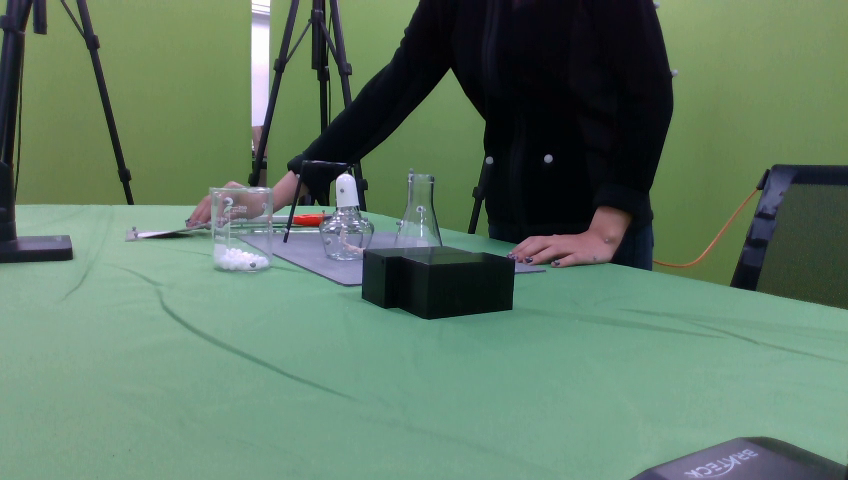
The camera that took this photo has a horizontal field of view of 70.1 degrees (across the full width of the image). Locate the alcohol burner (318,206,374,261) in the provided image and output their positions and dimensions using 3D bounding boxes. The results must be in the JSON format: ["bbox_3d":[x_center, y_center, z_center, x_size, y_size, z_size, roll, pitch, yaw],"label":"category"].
[{"bbox_3d":[-0.107,-0.032,0.833,0.078,0.119,0.078,1,6,0],"label":"alcohol burner"}]

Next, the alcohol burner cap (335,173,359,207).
[{"bbox_3d":[-0.108,-0.068,0.829,0.034,0.048,0.034,-7,4,1],"label":"alcohol burner cap"}]

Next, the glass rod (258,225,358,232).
[{"bbox_3d":[-0.216,-0.022,1.152,0.201,0.008,0.008,-3,8,-28],"label":"glass rod"}]

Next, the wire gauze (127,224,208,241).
[{"bbox_3d":[-0.422,-0.015,0.997,0.122,0.011,0.124,-8,6,-24],"label":"wire gauze"}]

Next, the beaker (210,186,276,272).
[{"bbox_3d":[-0.224,-0.014,0.738,0.084,0.100,0.074,4,7,16],"label":"beaker"}]

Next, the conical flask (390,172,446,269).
[{"bbox_3d":[-0.006,-0.027,0.790,0.075,0.122,0.075,2,7,0],"label":"conical flask"}]

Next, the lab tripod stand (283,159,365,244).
[{"bbox_3d":[-0.151,-0.063,0.983,0.148,0.131,0.148,4,7,0],"label":"lab tripod stand"}]

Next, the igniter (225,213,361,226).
[{"bbox_3d":[-0.257,-0.042,1.220,0.278,0.025,0.057,-3,-2,-33],"label":"igniter"}]
